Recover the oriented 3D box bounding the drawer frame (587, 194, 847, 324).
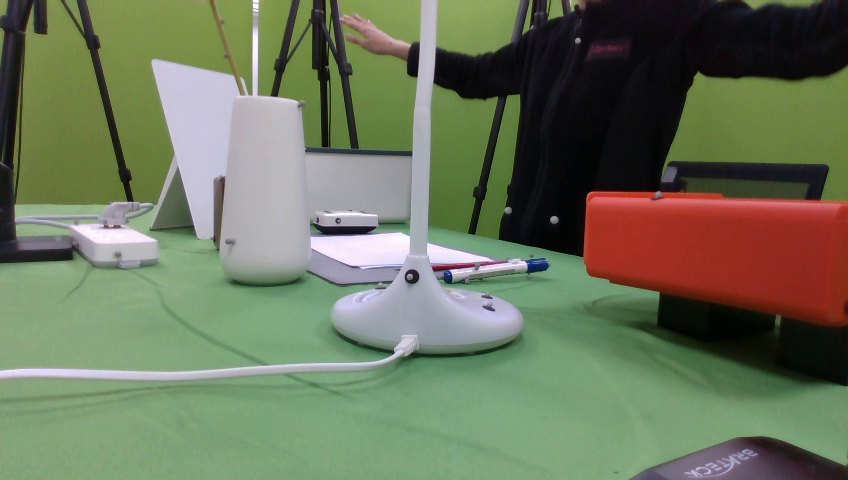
[{"bbox_3d":[0.285,0.004,0.508,0.203,0.082,0.212,-1,6,-30],"label":"drawer frame"}]

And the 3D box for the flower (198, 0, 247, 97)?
[{"bbox_3d":[-0.187,-0.133,0.648,0.038,0.362,0.044,-1,22,43],"label":"flower"}]

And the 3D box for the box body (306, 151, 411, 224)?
[{"bbox_3d":[-0.230,-0.126,1.371,0.366,0.160,0.253,-2,8,-33],"label":"box body"}]

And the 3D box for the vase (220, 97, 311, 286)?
[{"bbox_3d":[-0.172,-0.052,0.662,0.098,0.200,0.098,3,8,0],"label":"vase"}]

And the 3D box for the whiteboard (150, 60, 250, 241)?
[{"bbox_3d":[-0.408,-0.139,1.093,0.143,0.305,0.218,-15,-1,26],"label":"whiteboard"}]

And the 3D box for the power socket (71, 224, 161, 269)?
[{"bbox_3d":[-0.408,0.004,0.793,0.072,0.032,0.225,-2,8,-38],"label":"power socket"}]

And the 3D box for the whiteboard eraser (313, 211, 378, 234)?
[{"bbox_3d":[-0.145,-0.033,1.118,0.113,0.042,0.055,-2,7,-32],"label":"whiteboard eraser"}]

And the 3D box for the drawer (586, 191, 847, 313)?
[{"bbox_3d":[0.281,0.001,0.512,0.195,0.073,0.210,-1,8,-29],"label":"drawer"}]

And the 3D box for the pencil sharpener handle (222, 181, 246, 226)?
[{"bbox_3d":[-0.289,-0.055,0.912,0.036,0.067,0.030,-3,9,-29],"label":"pencil sharpener handle"}]

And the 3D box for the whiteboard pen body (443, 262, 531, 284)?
[{"bbox_3d":[0.087,0.038,0.734,0.141,0.017,0.017,-5,10,-27],"label":"whiteboard pen body"}]

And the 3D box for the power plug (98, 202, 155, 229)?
[{"bbox_3d":[-0.416,-0.027,0.848,0.073,0.052,0.035,0,8,-28],"label":"power plug"}]

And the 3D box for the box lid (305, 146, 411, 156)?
[{"bbox_3d":[-0.229,-0.200,1.360,0.373,0.015,0.262,-3,9,-32],"label":"box lid"}]

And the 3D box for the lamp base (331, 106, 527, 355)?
[{"bbox_3d":[0.006,-0.012,0.478,0.161,0.180,0.179,2,10,2],"label":"lamp base"}]

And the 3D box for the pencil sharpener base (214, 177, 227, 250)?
[{"bbox_3d":[-0.265,-0.036,0.870,0.061,0.107,0.076,-2,8,-29],"label":"pencil sharpener base"}]

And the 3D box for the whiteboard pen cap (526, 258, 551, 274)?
[{"bbox_3d":[0.141,0.033,0.759,0.033,0.018,0.018,-7,11,-26],"label":"whiteboard pen cap"}]

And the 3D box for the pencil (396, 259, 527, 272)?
[{"bbox_3d":[0.053,0.035,0.783,0.195,0.012,0.012,-2,9,-26],"label":"pencil"}]
